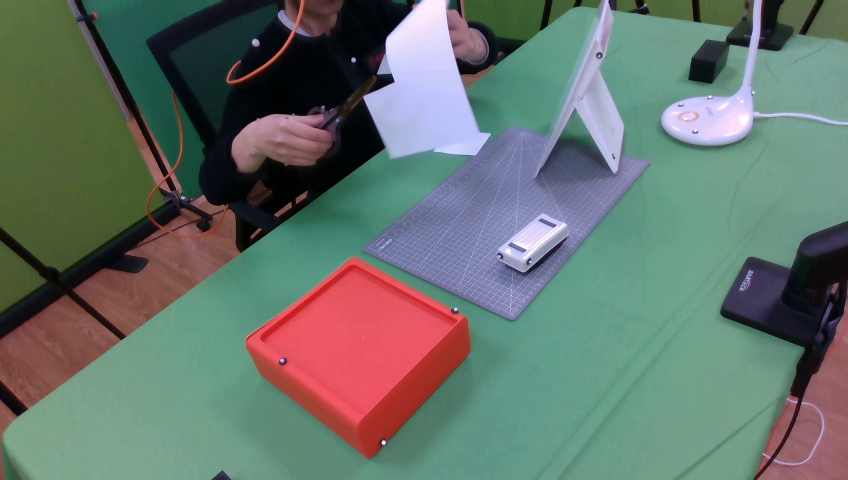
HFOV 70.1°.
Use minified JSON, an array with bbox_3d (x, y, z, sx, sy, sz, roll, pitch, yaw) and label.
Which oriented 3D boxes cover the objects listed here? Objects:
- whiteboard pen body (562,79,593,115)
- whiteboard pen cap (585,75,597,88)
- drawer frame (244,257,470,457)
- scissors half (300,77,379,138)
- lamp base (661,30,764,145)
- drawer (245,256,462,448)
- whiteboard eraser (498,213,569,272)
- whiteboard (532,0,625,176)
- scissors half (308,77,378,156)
[{"bbox_3d":[0.328,-0.306,1.278,0.017,0.017,0.141,20,52,30],"label":"whiteboard pen body"},{"bbox_3d":[0.362,-0.343,1.310,0.018,0.018,0.033,20,54,30],"label":"whiteboard pen cap"},{"bbox_3d":[-0.084,0.138,0.788,0.212,0.083,0.202,25,50,33],"label":"drawer frame"},{"bbox_3d":[-0.126,-0.197,0.885,0.174,0.040,0.013,-20,-2,38],"label":"scissors half"},{"bbox_3d":[0.535,-0.287,1.095,0.179,0.181,0.159,-10,40,-4],"label":"lamp base"},{"bbox_3d":[-0.089,0.136,0.792,0.210,0.073,0.195,26,51,34],"label":"drawer"},{"bbox_3d":[0.168,0.006,0.923,0.113,0.042,0.055,-36,48,-28],"label":"whiteboard eraser"},{"bbox_3d":[0.320,-0.259,1.050,0.144,0.306,0.217,21,45,5],"label":"whiteboard"},{"bbox_3d":[-0.118,-0.179,0.884,0.040,0.174,0.013,55,37,8],"label":"scissors half"}]
